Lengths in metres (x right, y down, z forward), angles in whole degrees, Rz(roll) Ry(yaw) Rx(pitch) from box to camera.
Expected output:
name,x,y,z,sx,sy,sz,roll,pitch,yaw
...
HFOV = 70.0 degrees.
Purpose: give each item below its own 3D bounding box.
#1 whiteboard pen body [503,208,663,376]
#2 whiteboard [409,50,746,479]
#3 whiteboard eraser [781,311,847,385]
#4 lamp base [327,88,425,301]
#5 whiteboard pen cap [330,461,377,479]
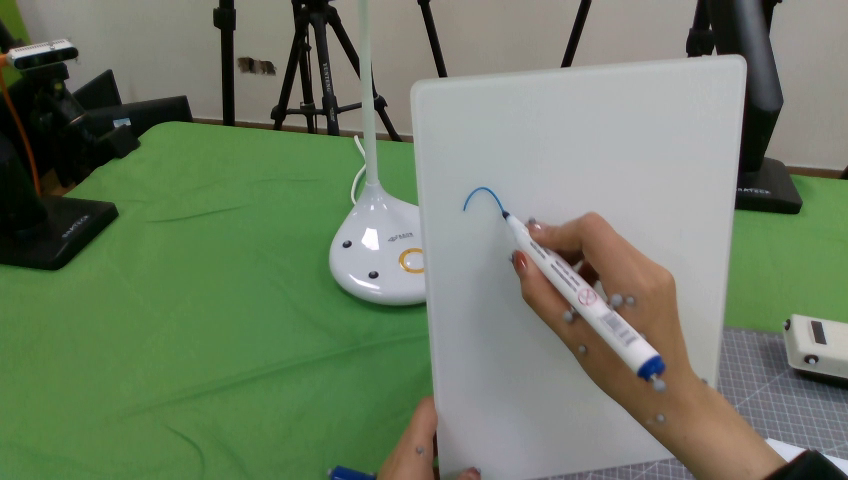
name,x,y,z,sx,sy,sz,roll,pitch,yaw
whiteboard pen body,0.084,0.022,0.348,0.017,0.017,0.139,-18,47,-21
whiteboard,0.102,0.015,0.482,0.217,0.307,0.143,-6,19,-5
whiteboard eraser,0.377,0.100,0.529,0.112,0.042,0.055,11,40,16
lamp base,-0.036,-0.056,0.634,0.161,0.182,0.177,-24,41,-27
whiteboard pen cap,-0.053,0.180,0.461,0.033,0.018,0.018,8,38,14
